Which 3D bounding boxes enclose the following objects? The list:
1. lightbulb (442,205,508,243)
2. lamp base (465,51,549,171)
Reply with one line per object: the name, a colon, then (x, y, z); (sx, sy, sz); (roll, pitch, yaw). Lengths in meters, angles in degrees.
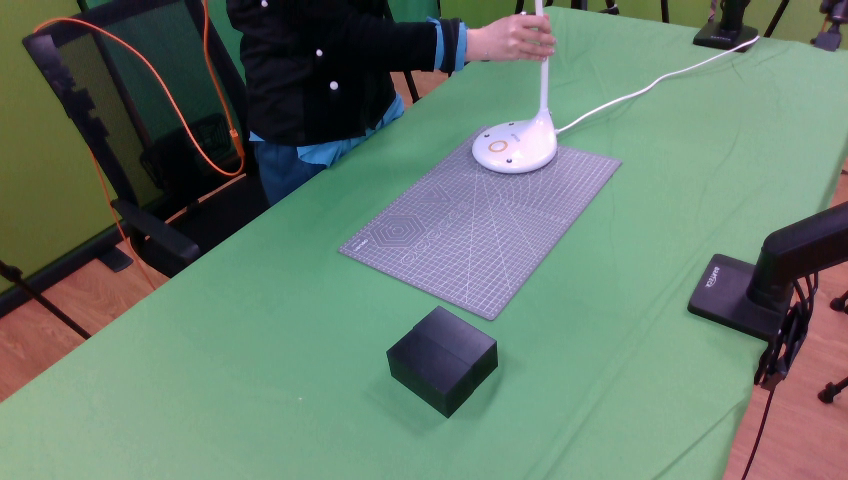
lightbulb: (0.081, -0.019, 0.955); (0.107, 0.059, 0.059); (18, 44, 5)
lamp base: (0.159, -0.243, 1.103); (0.180, 0.181, 0.159); (-32, 46, -29)
